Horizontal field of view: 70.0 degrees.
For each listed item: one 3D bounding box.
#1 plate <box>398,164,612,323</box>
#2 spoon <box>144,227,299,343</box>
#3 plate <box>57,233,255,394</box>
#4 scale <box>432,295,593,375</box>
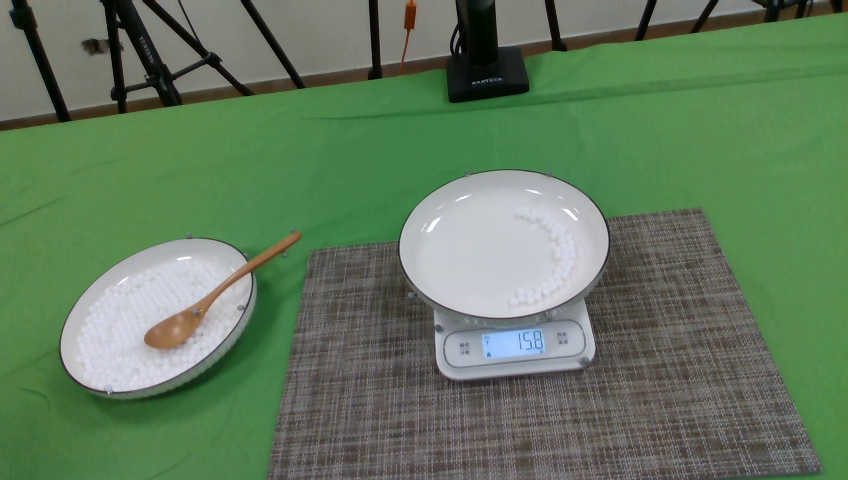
[{"bbox_3d":[0.079,0.003,0.608,0.207,0.039,0.205,-5,46,6],"label":"plate"},{"bbox_3d":[-0.212,0.045,0.651,0.193,0.022,0.041,-41,53,-17],"label":"spoon"},{"bbox_3d":[-0.282,0.078,0.656,0.209,0.038,0.207,-5,46,6],"label":"plate"},{"bbox_3d":[0.081,0.040,0.617,0.148,0.032,0.199,-7,46,5],"label":"scale"}]
